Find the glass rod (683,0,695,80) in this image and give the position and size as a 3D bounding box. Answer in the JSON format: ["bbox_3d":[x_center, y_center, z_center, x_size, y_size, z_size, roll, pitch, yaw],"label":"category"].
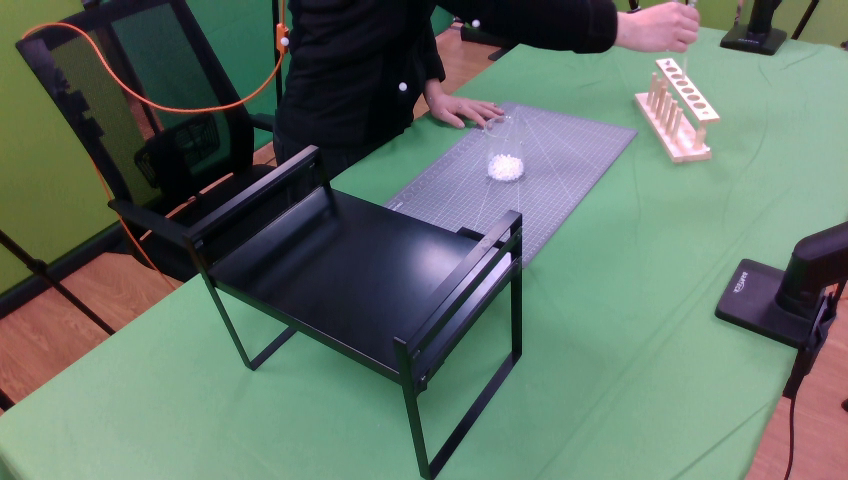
[{"bbox_3d":[0.446,-0.343,1.015,0.008,0.201,0.008,-9,55,13],"label":"glass rod"}]

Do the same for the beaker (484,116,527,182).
[{"bbox_3d":[0.147,-0.162,1.080,0.073,0.101,0.084,12,44,22],"label":"beaker"}]

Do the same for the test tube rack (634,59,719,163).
[{"bbox_3d":[0.471,-0.250,1.148,0.067,0.085,0.241,-6,40,3],"label":"test tube rack"}]
